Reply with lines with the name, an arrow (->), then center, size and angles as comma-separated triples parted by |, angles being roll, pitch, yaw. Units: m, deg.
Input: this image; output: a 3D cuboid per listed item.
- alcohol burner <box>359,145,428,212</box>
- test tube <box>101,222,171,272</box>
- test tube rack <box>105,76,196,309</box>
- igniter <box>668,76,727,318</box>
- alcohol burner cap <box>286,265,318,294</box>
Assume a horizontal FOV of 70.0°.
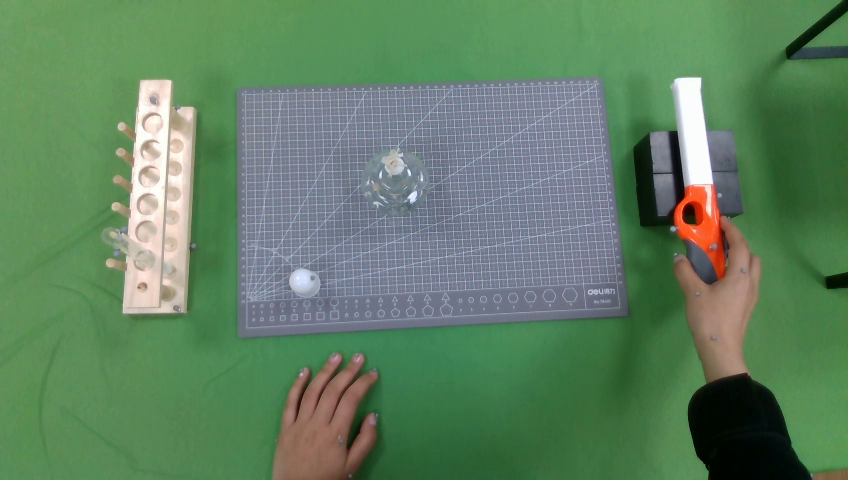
alcohol burner -> -0.034, -0.072, 0.665 | 0.078, 0.119, 0.077 | 0, 81, -2
test tube -> -0.283, 0.010, 0.604 | 0.017, 0.151, 0.017 | 1, 75, -4
test tube rack -> -0.302, -0.049, 0.663 | 0.067, 0.085, 0.241 | 0, 80, -3
igniter -> 0.303, -0.051, 0.678 | 0.057, 0.025, 0.275 | -2, 80, -1
alcohol burner cap -> -0.138, 0.042, 0.675 | 0.034, 0.048, 0.033 | 1, 80, -4
